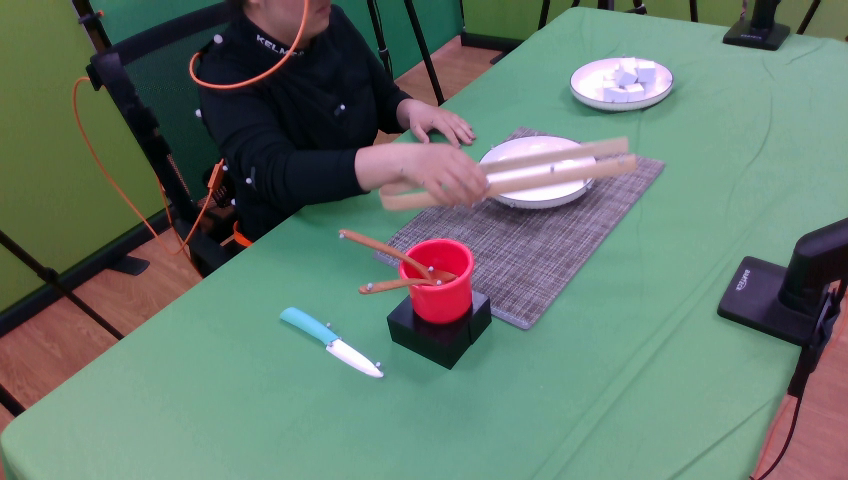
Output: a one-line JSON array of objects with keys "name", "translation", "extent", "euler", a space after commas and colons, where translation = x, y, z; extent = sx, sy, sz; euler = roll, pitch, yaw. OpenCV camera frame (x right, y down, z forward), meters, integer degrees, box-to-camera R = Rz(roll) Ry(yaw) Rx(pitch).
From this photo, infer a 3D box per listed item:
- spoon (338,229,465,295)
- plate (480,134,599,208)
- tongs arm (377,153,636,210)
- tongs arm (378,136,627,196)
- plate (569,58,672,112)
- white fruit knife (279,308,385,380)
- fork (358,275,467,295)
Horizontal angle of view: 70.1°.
[{"name": "spoon", "translation": [-0.025, 0.026, 0.776], "extent": [0.021, 0.195, 0.041], "euler": [-41, 34, 31]}, {"name": "plate", "translation": [0.202, -0.117, 1.065], "extent": [0.207, 0.039, 0.206], "euler": [-5, 40, 5]}, {"name": "tongs arm", "translation": [0.117, -0.090, 0.908], "extent": [0.384, 0.026, 0.050], "euler": [-11, 35, 7]}, {"name": "tongs arm", "translation": [0.119, -0.112, 0.939], "extent": [0.387, 0.028, 0.028], "euler": [-10, 38, 7]}, {"name": "plate", "translation": [0.411, -0.323, 1.274], "extent": [0.209, 0.038, 0.208], "euler": [-5, 41, 5]}, {"name": "white fruit knife", "translation": [-0.130, 0.143, 0.845], "extent": [0.205, 0.016, 0.027], "euler": [25, 79, 32]}, {"name": "fork", "translation": [-0.009, 0.056, 0.739], "extent": [0.028, 0.018, 0.209], "euler": [48, 23, 26]}]
